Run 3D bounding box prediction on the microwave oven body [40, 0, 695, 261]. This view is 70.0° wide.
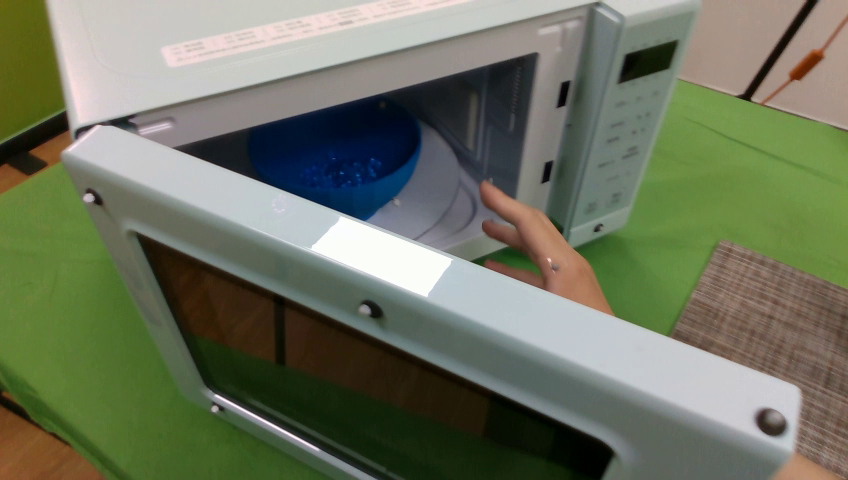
[{"bbox_3d":[-0.059,-0.127,0.565,0.442,0.262,0.322,-21,50,-19],"label":"microwave oven body"}]

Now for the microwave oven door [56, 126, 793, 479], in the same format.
[{"bbox_3d":[-0.028,0.086,0.346,0.354,0.246,0.039,20,48,19],"label":"microwave oven door"}]

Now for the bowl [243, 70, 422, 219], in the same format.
[{"bbox_3d":[-0.077,-0.071,0.541,0.151,0.077,0.150,1,57,-1],"label":"bowl"}]

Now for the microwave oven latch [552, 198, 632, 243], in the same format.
[{"bbox_3d":[0.167,-0.026,0.604,0.079,0.030,0.030,-20,49,-18],"label":"microwave oven latch"}]
